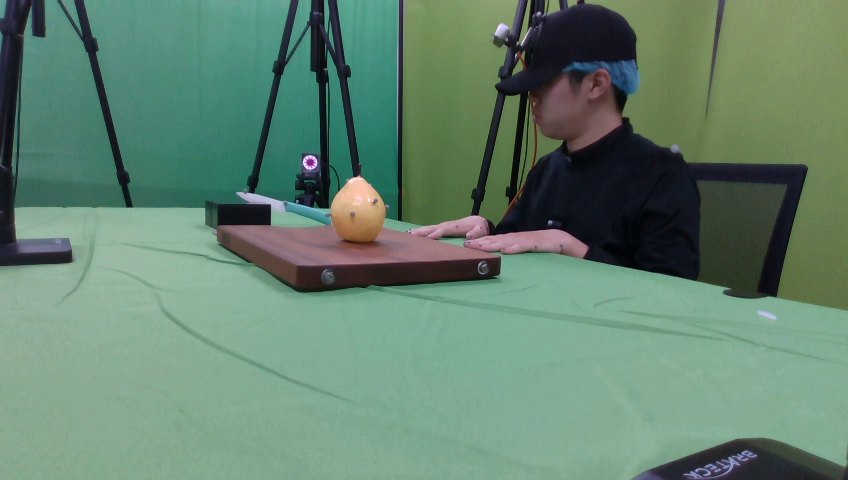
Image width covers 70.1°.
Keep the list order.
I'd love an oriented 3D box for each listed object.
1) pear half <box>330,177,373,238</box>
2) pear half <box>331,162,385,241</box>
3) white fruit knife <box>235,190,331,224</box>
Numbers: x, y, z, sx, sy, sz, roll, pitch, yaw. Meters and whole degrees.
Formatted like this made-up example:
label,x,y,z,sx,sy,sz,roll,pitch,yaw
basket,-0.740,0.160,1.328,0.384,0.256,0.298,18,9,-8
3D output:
label,x,y,z,sx,sy,sz,roll,pitch,yaw
pear half,-0.109,-0.047,0.866,0.031,0.088,0.071,8,12,43
pear half,-0.085,-0.052,0.839,0.055,0.110,0.077,10,14,42
white fruit knife,-0.286,-0.070,1.245,0.208,0.027,0.016,15,-4,-30
